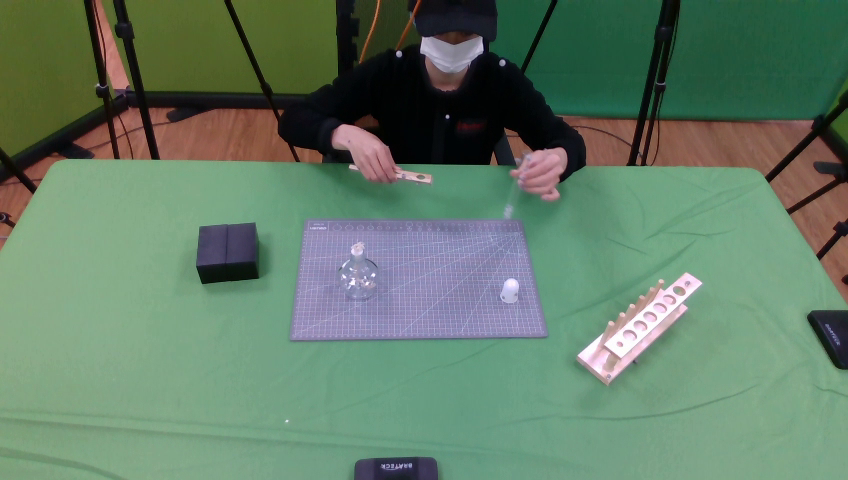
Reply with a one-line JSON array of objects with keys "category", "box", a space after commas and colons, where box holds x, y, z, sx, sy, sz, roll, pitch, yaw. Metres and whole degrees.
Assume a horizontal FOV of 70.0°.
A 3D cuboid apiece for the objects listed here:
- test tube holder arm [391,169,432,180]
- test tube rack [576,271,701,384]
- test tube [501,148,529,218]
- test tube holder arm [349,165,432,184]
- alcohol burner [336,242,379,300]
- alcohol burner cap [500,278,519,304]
[{"category": "test tube holder arm", "box": [-0.026, -0.130, 1.198, 0.087, 0.015, 0.010, 10, 76, 18]}, {"category": "test tube rack", "box": [0.373, 0.138, 1.047, 0.242, 0.085, 0.066, -31, 56, -29]}, {"category": "test tube", "box": [0.155, -0.095, 1.041, 0.017, 0.151, 0.017, 6, 44, -5]}, {"category": "test tube holder arm", "box": [-0.070, -0.132, 1.212, 0.178, 0.015, 0.013, 10, 77, 18]}, {"category": "alcohol burner", "box": [-0.118, 0.050, 1.072, 0.078, 0.120, 0.077, 2, 44, -1]}, {"category": "alcohol burner cap", "box": [0.157, 0.090, 1.104, 0.034, 0.048, 0.033, 2, 46, -2]}]
